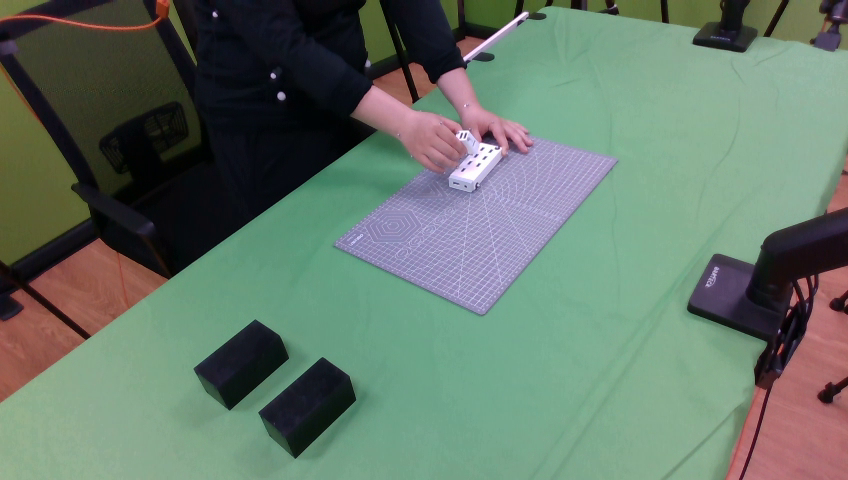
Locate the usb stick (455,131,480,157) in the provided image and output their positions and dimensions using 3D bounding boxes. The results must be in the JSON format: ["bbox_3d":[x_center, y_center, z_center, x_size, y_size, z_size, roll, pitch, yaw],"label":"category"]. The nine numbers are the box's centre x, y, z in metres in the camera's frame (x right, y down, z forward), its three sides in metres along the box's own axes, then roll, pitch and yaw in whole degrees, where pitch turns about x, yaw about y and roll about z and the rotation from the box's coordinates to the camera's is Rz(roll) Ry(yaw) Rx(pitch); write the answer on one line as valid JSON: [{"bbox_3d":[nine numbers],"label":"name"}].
[{"bbox_3d":[0.080,-0.168,1.077,0.027,0.059,0.021,4,65,31],"label":"usb stick"}]

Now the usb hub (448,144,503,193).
[{"bbox_3d":[0.096,-0.132,1.105,0.049,0.025,0.125,19,47,27],"label":"usb hub"}]
